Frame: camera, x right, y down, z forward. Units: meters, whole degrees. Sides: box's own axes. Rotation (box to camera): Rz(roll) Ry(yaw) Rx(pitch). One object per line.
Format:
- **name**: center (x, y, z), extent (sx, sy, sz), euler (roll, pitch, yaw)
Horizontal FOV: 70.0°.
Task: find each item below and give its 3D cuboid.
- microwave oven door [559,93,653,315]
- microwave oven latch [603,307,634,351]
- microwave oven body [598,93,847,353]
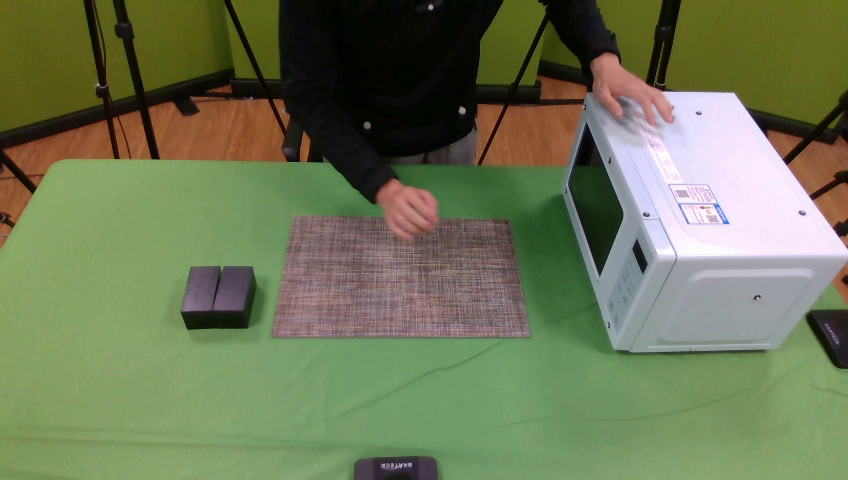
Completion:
- **microwave oven door**: center (0.327, -0.074, 1.123), extent (0.039, 0.245, 0.353), euler (-1, 46, -5)
- **microwave oven latch**: center (0.332, 0.153, 1.044), extent (0.030, 0.029, 0.078), euler (0, 45, -3)
- **microwave oven body**: center (0.475, -0.041, 1.109), extent (0.326, 0.261, 0.438), euler (-1, 45, -4)
